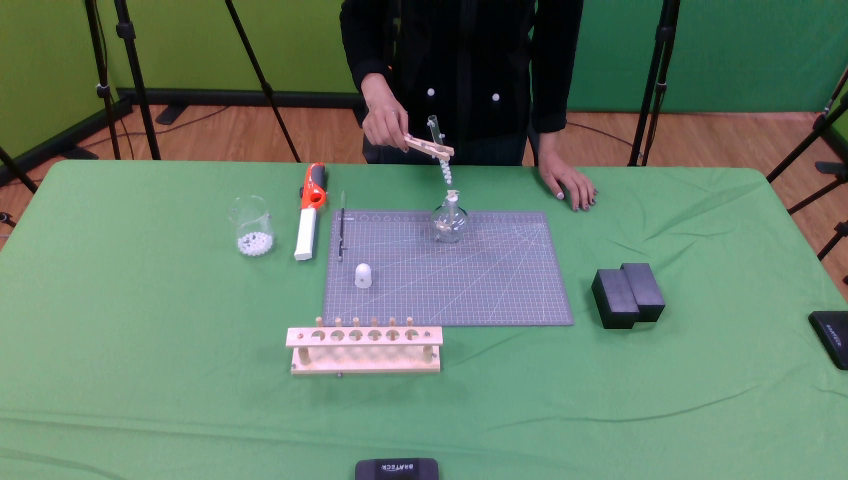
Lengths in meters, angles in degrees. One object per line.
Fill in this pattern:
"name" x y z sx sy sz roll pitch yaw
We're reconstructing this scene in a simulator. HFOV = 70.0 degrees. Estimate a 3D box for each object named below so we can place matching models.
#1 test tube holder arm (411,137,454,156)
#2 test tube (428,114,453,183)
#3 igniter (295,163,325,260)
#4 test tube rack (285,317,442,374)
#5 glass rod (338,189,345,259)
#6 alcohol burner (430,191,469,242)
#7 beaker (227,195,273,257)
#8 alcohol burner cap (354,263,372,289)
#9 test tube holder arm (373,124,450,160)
"test tube holder arm" 0.014 -0.169 1.091 0.087 0.015 0.010 18 54 25
"test tube" 0.031 -0.159 1.077 0.017 0.151 0.017 -9 45 10
"igniter" -0.233 -0.068 1.242 0.057 0.025 0.274 -7 46 3
"test tube rack" -0.095 0.166 0.988 0.242 0.085 0.066 0 46 -4
"glass rod" -0.166 -0.036 1.227 0.008 0.008 0.198 -1 46 -4
"alcohol burner" 0.051 -0.053 1.185 0.078 0.119 0.077 2 48 -2
"beaker" -0.326 -0.022 1.142 0.074 0.101 0.083 10 47 6
"alcohol burner cap" -0.113 0.063 1.111 0.034 0.048 0.033 2 46 -2
"test tube holder arm" -0.026 -0.181 1.109 0.177 0.015 0.013 25 56 29
